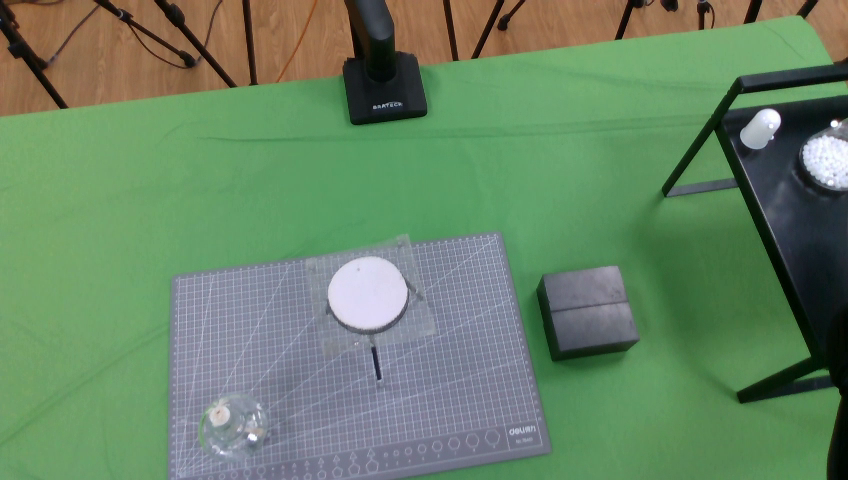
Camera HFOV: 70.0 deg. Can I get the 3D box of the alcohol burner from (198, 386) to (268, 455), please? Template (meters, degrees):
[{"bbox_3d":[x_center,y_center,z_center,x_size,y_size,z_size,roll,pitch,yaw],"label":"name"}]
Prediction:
[{"bbox_3d":[-0.218,0.198,0.680,0.078,0.120,0.077,1,63,-2],"label":"alcohol burner"}]

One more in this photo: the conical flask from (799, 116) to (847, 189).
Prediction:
[{"bbox_3d":[0.465,-0.114,0.640,0.075,0.123,0.074,1,65,-1],"label":"conical flask"}]

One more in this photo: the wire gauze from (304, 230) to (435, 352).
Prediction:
[{"bbox_3d":[-0.062,0.055,0.665,0.125,0.011,0.120,-12,66,-8],"label":"wire gauze"}]

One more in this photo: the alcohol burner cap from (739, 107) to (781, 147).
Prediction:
[{"bbox_3d":[0.386,-0.131,0.690,0.034,0.048,0.033,0,66,0],"label":"alcohol burner cap"}]

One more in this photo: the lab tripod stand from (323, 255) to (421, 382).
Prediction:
[{"bbox_3d":[-0.061,0.081,0.727,0.148,0.132,0.147,1,63,-1],"label":"lab tripod stand"}]
